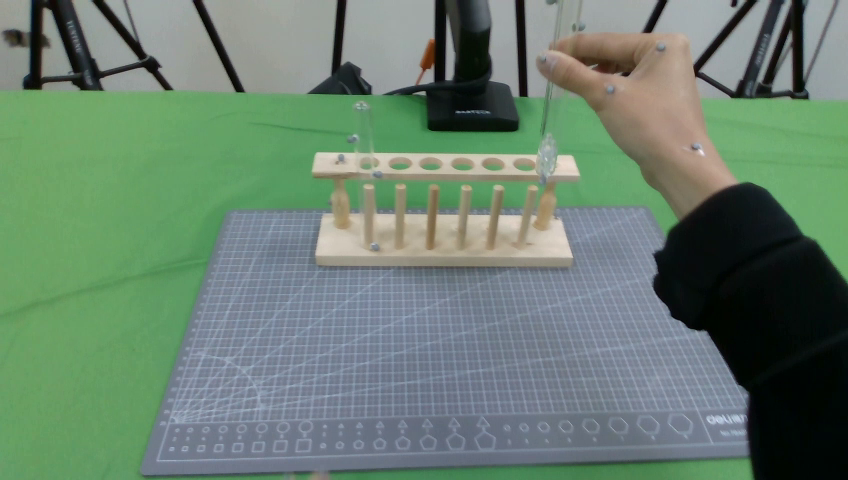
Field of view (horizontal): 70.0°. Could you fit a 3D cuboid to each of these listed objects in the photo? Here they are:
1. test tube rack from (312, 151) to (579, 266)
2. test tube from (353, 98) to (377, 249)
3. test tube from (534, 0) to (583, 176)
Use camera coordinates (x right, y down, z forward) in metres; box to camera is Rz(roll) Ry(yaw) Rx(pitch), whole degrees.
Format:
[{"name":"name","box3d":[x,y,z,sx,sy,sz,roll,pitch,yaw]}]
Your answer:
[{"name":"test tube rack","box3d":[0.019,-0.029,0.572,0.242,0.086,0.066,1,40,-2]},{"name":"test tube","box3d":[-0.050,-0.053,0.527,0.017,0.152,0.017,1,40,-1]},{"name":"test tube","box3d":[0.092,-0.109,0.415,0.017,0.151,0.017,1,39,0]}]
